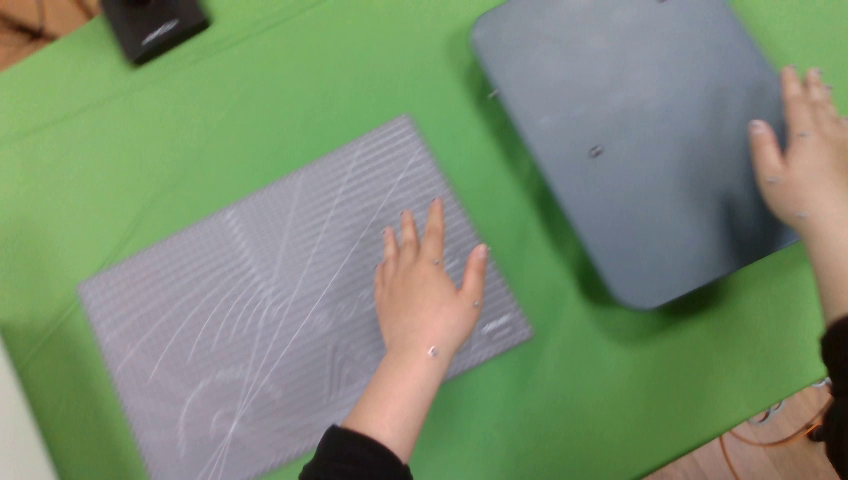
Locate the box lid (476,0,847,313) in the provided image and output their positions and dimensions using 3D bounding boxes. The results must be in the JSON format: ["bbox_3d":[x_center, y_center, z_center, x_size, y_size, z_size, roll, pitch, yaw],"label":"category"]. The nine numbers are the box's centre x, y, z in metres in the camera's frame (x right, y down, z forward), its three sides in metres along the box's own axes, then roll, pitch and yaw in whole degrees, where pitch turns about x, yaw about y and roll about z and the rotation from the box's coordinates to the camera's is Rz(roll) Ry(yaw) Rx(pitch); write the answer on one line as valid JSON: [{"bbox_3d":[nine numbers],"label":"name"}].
[{"bbox_3d":[0.239,-0.137,0.629,0.263,0.015,0.369,-26,77,1],"label":"box lid"}]

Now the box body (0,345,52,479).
[{"bbox_3d":[-0.541,0.281,0.609,0.254,0.161,0.362,-30,76,0],"label":"box body"}]
